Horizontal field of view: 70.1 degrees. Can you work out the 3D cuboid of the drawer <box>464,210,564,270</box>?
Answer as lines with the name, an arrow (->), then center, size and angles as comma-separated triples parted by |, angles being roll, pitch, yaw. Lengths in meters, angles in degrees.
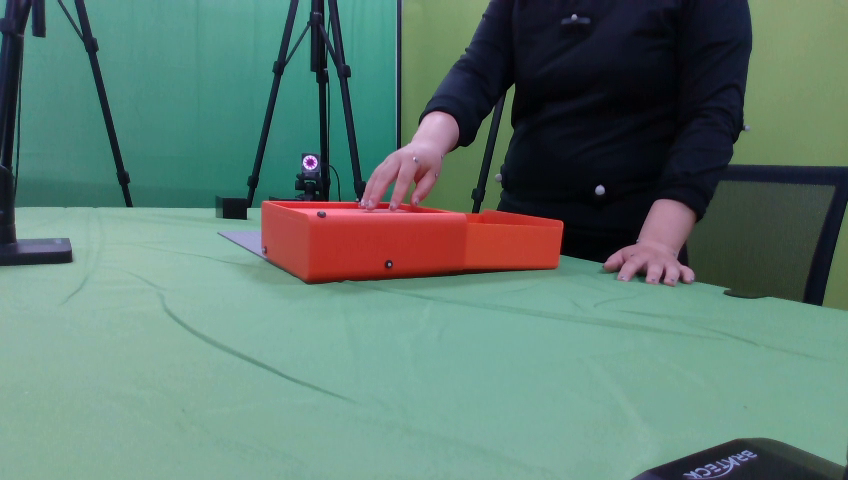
drawer -> 0.058, -0.006, 0.880 | 0.213, 0.073, 0.193 | 1, 8, -31

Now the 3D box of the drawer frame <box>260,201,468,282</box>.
drawer frame -> -0.084, -0.006, 0.794 | 0.215, 0.082, 0.200 | -2, 9, -30

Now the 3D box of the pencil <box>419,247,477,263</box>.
pencil -> 0.040, 0.019, 0.877 | 0.012, 0.012, 0.195 | 6, 6, 26
